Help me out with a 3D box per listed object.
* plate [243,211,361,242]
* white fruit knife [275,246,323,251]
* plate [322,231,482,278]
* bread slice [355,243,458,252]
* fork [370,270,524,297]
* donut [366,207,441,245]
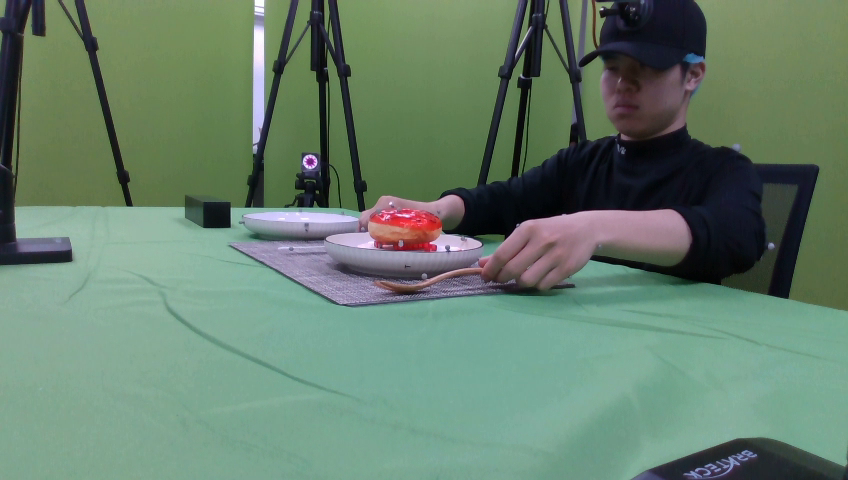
[{"bbox_3d":[-0.219,-0.025,1.092,0.208,0.039,0.207,3,7,0],"label":"plate"},{"bbox_3d":[-0.117,0.010,0.898,0.208,0.016,0.027,-3,-6,-27],"label":"white fruit knife"},{"bbox_3d":[-0.028,0.018,0.789,0.209,0.038,0.209,3,7,0],"label":"plate"},{"bbox_3d":[-0.027,0.019,0.794,0.131,0.019,0.105,5,7,17],"label":"bread slice"},{"bbox_3d":[0.034,0.044,0.667,0.208,0.018,0.028,-6,21,-34],"label":"fork"},{"bbox_3d":[-0.027,-0.017,0.786,0.099,0.048,0.099,2,7,0],"label":"donut"}]
